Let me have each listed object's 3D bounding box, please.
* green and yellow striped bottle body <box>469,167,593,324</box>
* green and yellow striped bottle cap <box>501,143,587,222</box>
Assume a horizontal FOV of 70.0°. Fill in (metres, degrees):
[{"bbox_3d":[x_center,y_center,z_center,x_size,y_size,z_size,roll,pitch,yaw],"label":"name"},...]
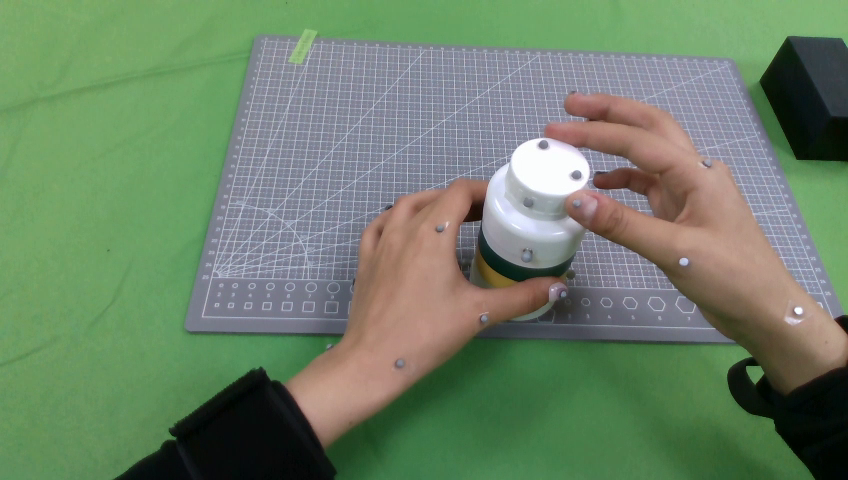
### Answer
[{"bbox_3d":[0.065,-0.002,0.375,0.063,0.120,0.062,1,54,-1],"label":"green and yellow striped bottle body"},{"bbox_3d":[0.066,-0.032,0.332,0.045,0.020,0.045,3,53,-3],"label":"green and yellow striped bottle cap"}]
